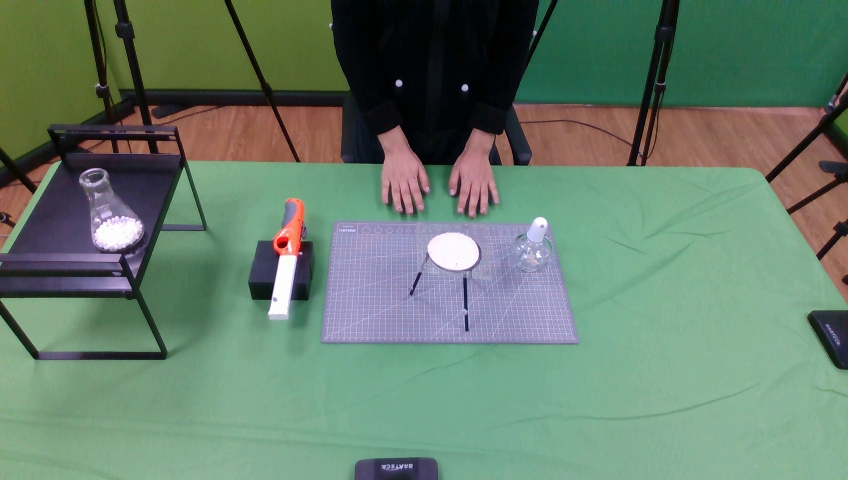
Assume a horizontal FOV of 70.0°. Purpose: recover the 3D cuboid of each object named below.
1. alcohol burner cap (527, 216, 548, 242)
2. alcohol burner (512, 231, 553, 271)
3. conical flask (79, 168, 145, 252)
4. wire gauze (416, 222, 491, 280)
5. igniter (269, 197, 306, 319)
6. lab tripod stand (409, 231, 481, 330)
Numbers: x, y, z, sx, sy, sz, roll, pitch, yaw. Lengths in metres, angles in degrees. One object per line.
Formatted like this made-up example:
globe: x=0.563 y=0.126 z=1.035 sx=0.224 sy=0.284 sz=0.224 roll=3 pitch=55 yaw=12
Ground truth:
alcohol burner cap: x=0.212 y=-0.023 z=1.119 sx=0.034 sy=0.048 sz=0.033 roll=8 pitch=46 yaw=-8
alcohol burner: x=0.208 y=0.002 z=1.144 sx=0.078 sy=0.119 sz=0.077 roll=3 pitch=44 yaw=-3
conical flask: x=-0.463 y=-0.048 z=0.888 sx=0.075 sy=0.122 sz=0.075 roll=2 pitch=46 yaw=-2
wire gauze: x=0.048 y=0.014 z=1.013 sx=0.125 sy=0.011 sz=0.120 roll=3 pitch=47 yaw=-3
igniter: x=-0.246 y=0.023 z=1.087 sx=0.057 sy=0.025 sz=0.274 roll=-1 pitch=49 yaw=-2
lab tripod stand: x=0.051 y=0.064 z=1.059 sx=0.148 sy=0.132 sz=0.147 roll=3 pitch=46 yaw=-3
